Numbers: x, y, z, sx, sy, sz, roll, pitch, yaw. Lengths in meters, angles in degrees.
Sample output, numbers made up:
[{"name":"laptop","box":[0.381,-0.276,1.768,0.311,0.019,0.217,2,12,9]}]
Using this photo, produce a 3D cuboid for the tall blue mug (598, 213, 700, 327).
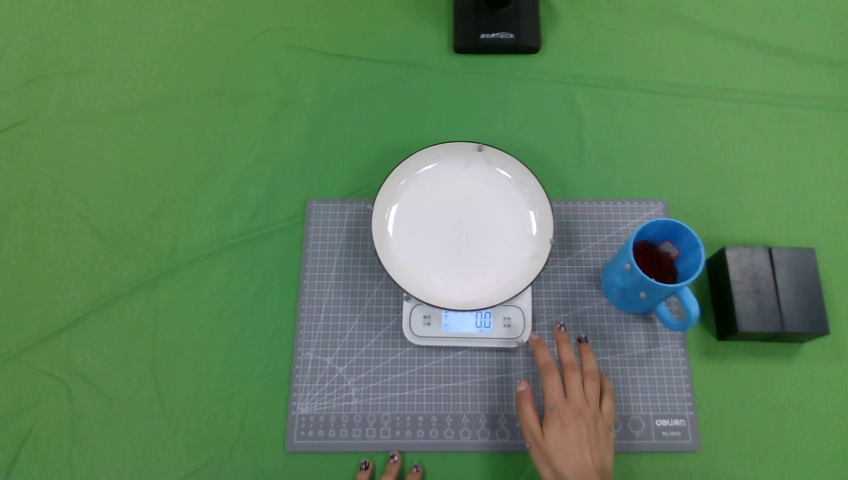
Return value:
[{"name":"tall blue mug","box":[0.258,0.035,0.668,0.107,0.108,0.077,35,73,12]}]

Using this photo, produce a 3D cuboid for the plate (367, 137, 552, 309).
[{"name":"plate","box":[0.040,-0.019,0.693,0.209,0.038,0.207,1,70,-1]}]

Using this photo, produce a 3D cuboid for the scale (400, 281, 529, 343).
[{"name":"scale","box":[0.048,0.019,0.714,0.149,0.032,0.199,2,71,1]}]
